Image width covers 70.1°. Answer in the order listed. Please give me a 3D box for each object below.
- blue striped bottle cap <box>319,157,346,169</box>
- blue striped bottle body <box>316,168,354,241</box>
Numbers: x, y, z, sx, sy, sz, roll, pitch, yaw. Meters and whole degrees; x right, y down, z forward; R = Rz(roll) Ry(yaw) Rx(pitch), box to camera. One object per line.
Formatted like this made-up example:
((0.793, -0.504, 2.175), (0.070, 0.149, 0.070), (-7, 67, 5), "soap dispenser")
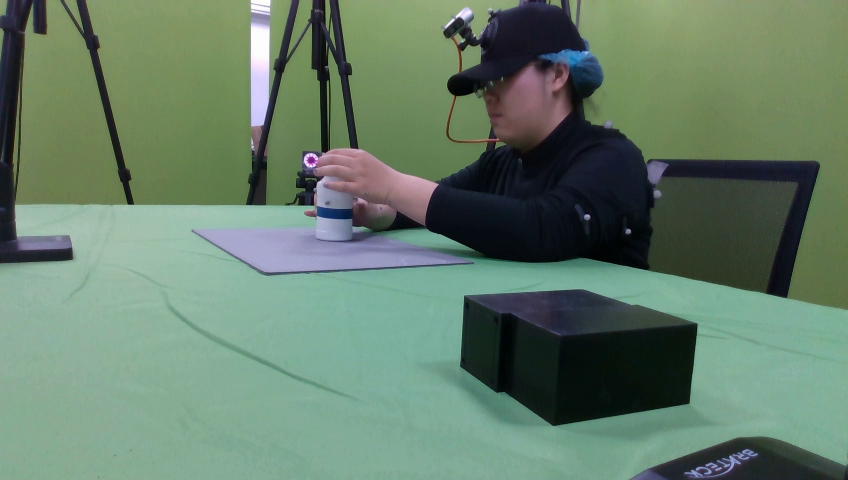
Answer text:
((-0.153, -0.129, 1.011), (0.044, 0.020, 0.044), (-1, 5, 0), "blue striped bottle cap")
((-0.150, -0.061, 1.022), (0.063, 0.120, 0.063), (2, 7, 0), "blue striped bottle body")
